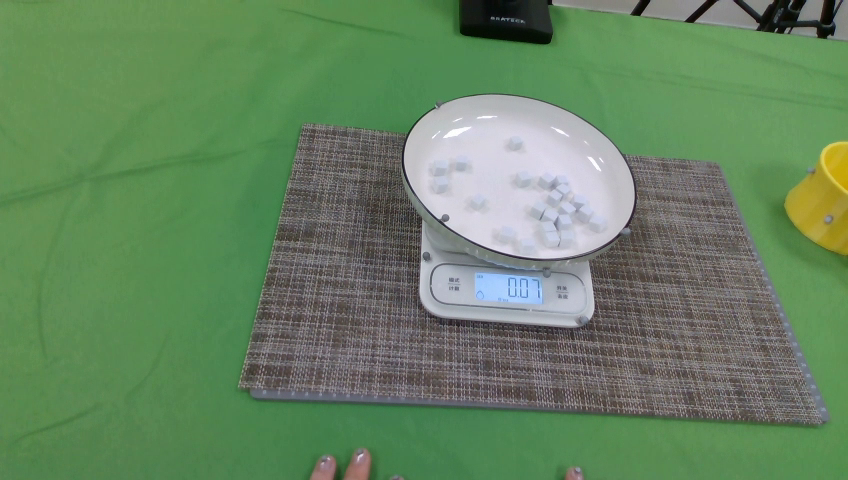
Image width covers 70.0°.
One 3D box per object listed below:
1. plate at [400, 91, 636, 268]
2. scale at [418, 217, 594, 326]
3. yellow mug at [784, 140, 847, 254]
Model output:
[{"bbox_3d":[0.081,-0.055,0.540,0.209,0.038,0.207,4,50,-5],"label":"plate"},{"bbox_3d":[0.072,-0.016,0.550,0.149,0.032,0.199,5,50,-4],"label":"scale"},{"bbox_3d":[0.428,-0.032,0.598,0.100,0.064,0.129,4,51,-5],"label":"yellow mug"}]
